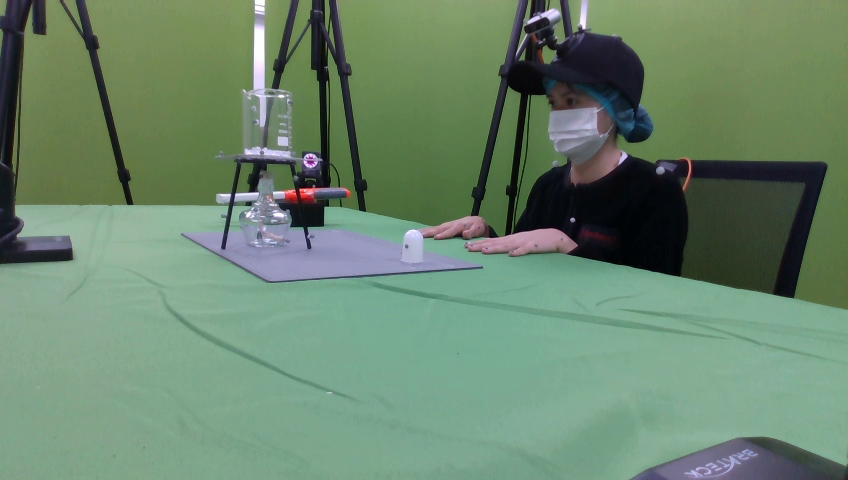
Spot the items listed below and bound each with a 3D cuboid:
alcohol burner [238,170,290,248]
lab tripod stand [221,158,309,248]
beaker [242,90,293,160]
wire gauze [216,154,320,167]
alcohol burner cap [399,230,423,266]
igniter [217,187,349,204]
[{"bbox_3d":[-0.244,-0.048,0.927,0.078,0.119,0.078,3,5,0],"label":"alcohol burner"},{"bbox_3d":[-0.244,-0.057,0.917,0.148,0.131,0.148,1,7,0],"label":"lab tripod stand"},{"bbox_3d":[-0.235,-0.169,0.900,0.074,0.100,0.084,4,7,23],"label":"beaker"},{"bbox_3d":[-0.236,-0.121,0.906,0.126,0.011,0.121,0,8,-33],"label":"wire gauze"},{"bbox_3d":[-0.017,0.010,0.837,0.034,0.048,0.034,3,7,0],"label":"alcohol burner cap"},{"bbox_3d":[-0.285,-0.093,1.256,0.278,0.025,0.057,-6,12,-34],"label":"igniter"}]
